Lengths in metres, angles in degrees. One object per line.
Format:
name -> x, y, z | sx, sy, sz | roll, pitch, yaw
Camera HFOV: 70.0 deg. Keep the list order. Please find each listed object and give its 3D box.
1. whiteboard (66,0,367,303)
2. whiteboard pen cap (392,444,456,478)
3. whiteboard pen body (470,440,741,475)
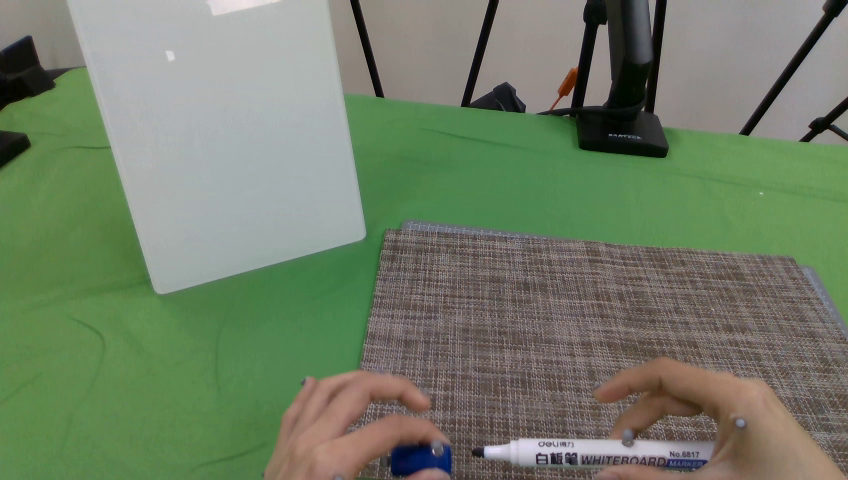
whiteboard -> -0.204, -0.127, 0.619 | 0.218, 0.307, 0.142 | -16, 22, -23
whiteboard pen cap -> 0.000, 0.120, 0.330 | 0.033, 0.018, 0.018 | -9, 36, 11
whiteboard pen body -> 0.094, 0.117, 0.327 | 0.140, 0.017, 0.017 | -4, 35, 13
